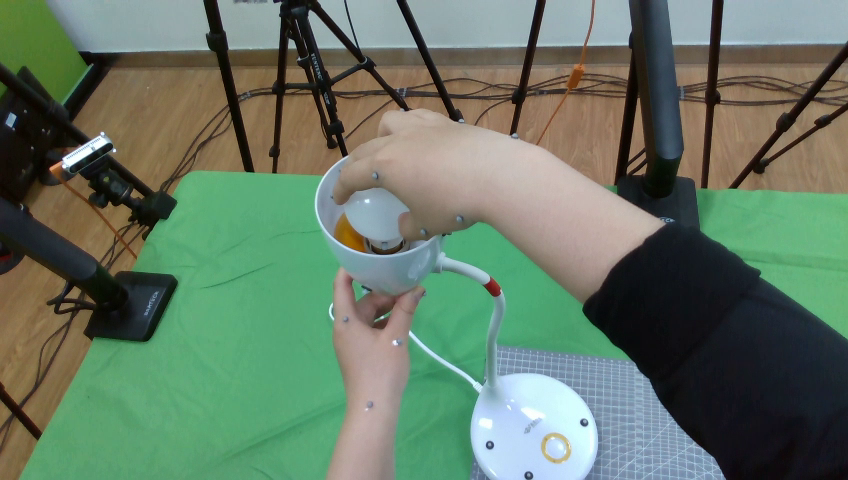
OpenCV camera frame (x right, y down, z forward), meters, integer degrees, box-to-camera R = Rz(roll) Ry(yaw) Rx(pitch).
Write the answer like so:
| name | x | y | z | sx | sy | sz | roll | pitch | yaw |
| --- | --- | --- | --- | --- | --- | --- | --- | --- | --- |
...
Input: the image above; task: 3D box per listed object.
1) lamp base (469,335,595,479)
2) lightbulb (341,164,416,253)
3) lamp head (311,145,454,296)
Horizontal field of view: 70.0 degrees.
| name | x | y | z | sx | sy | sz | roll | pitch | yaw |
| --- | --- | --- | --- | --- | --- | --- | --- | --- | --- |
| lamp base | 0.116 | 0.192 | 0.721 | 0.177 | 0.182 | 0.160 | 27 | 61 | 29 |
| lightbulb | -0.036 | -0.017 | 0.498 | 0.059 | 0.108 | 0.059 | 0 | 60 | 0 |
| lamp head | -0.029 | -0.003 | 0.528 | 0.112 | 0.124 | 0.111 | -3 | 56 | 5 |
